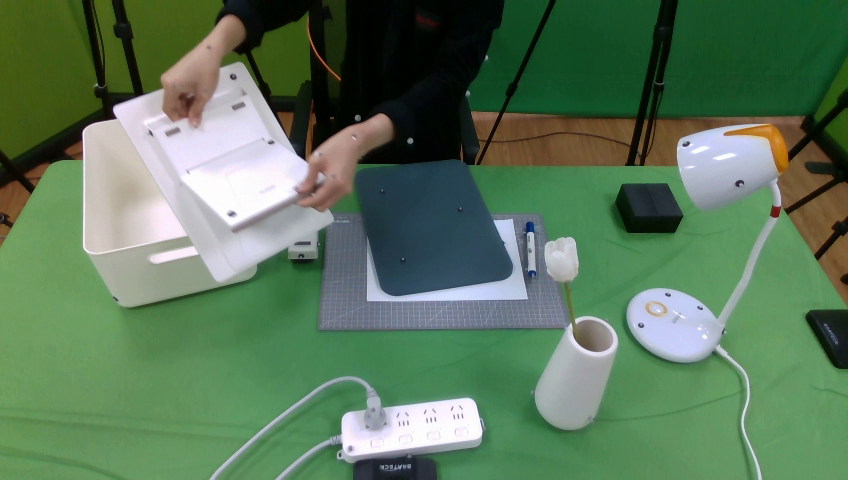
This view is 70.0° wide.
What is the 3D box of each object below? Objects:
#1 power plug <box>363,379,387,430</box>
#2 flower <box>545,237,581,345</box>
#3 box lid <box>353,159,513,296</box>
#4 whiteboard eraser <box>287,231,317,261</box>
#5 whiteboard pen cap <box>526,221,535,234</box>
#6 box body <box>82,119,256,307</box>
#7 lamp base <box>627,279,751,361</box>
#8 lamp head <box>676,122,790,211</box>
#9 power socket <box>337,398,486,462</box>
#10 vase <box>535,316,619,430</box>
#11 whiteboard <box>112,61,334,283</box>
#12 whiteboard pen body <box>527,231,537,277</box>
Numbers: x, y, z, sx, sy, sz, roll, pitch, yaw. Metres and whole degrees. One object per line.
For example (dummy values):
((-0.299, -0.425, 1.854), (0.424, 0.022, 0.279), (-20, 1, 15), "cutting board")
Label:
((-0.071, 0.252, 0.911), (0.035, 0.053, 0.072), (3, 40, 0), "power plug")
((0.213, 0.137, 0.846), (0.038, 0.364, 0.044), (21, 55, 40), "flower")
((0.009, -0.039, 1.242), (0.264, 0.015, 0.369), (-8, 47, -12), "box lid")
((-0.234, -0.007, 1.173), (0.055, 0.042, 0.112), (-3, 47, -5), "whiteboard eraser")
((0.216, -0.022, 1.234), (0.018, 0.018, 0.033), (6, 44, 1), "whiteboard pen cap")
((-0.471, -0.071, 1.131), (0.254, 0.161, 0.361), (-14, 49, -17), "box body")
((0.460, 0.100, 1.027), (0.178, 0.181, 0.160), (27, 51, 17), "lamp base")
((0.423, -0.104, 0.819), (0.122, 0.113, 0.112), (-13, 33, 40), "lamp head")
((-0.018, 0.285, 0.914), (0.227, 0.033, 0.071), (-4, 46, -8), "power socket")
((0.229, 0.200, 0.900), (0.098, 0.201, 0.097), (3, 46, -3), "vase")
((-0.275, -0.125, 0.893), (0.217, 0.143, 0.305), (-32, 95, -28), "whiteboard")
((0.211, 0.018, 1.191), (0.017, 0.017, 0.140), (6, 44, 1), "whiteboard pen body")
